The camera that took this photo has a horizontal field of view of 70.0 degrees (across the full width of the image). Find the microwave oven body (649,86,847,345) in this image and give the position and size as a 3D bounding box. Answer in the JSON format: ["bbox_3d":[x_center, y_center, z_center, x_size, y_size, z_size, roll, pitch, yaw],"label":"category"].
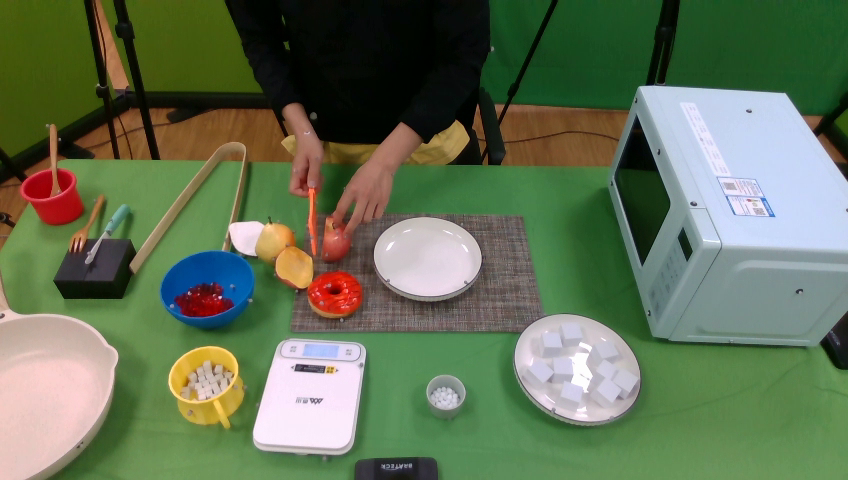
[{"bbox_3d":[0.567,-0.053,1.118,0.326,0.261,0.439,2,45,-1],"label":"microwave oven body"}]

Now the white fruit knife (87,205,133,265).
[{"bbox_3d":[-0.584,-0.013,1.129,0.016,0.027,0.206,-1,32,-4],"label":"white fruit knife"}]

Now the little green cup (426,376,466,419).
[{"bbox_3d":[0.033,0.248,0.950,0.061,0.039,0.061,2,46,-2],"label":"little green cup"}]

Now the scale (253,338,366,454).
[{"bbox_3d":[-0.175,0.236,0.951,0.149,0.032,0.199,4,45,0],"label":"scale"}]

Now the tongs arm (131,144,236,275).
[{"bbox_3d":[-0.483,-0.076,1.236,0.028,0.028,0.385,5,45,13],"label":"tongs arm"}]

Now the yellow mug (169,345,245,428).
[{"bbox_3d":[-0.322,0.230,0.922,0.100,0.064,0.130,-24,53,-25],"label":"yellow mug"}]

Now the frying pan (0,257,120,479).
[{"bbox_3d":[-0.647,0.164,0.937,0.307,0.103,0.485,-19,58,-22],"label":"frying pan"}]

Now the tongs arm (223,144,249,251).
[{"bbox_3d":[-0.397,-0.073,1.232,0.051,0.027,0.382,-3,45,1],"label":"tongs arm"}]

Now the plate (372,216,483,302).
[{"bbox_3d":[0.006,0.038,1.145,0.209,0.038,0.208,2,46,-2],"label":"plate"}]

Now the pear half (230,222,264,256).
[{"bbox_3d":[-0.333,0.000,1.167,0.088,0.031,0.070,31,52,4],"label":"pear half"}]

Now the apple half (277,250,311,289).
[{"bbox_3d":[-0.245,0.058,1.115,0.033,0.082,0.081,-34,42,23],"label":"apple half"}]

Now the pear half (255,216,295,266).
[{"bbox_3d":[-0.269,0.001,1.117,0.056,0.110,0.076,26,55,18],"label":"pear half"}]

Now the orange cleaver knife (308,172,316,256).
[{"bbox_3d":[-0.210,-0.053,1.142,0.012,0.077,0.210,-6,38,-5],"label":"orange cleaver knife"}]

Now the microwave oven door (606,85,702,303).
[{"bbox_3d":[0.422,-0.094,1.140,0.039,0.245,0.353,2,46,-1],"label":"microwave oven door"}]

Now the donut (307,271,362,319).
[{"bbox_3d":[-0.158,0.097,1.073,0.099,0.048,0.098,4,45,-4],"label":"donut"}]

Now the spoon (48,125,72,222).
[{"bbox_3d":[-0.718,-0.131,1.189,0.041,0.021,0.193,-3,90,-6],"label":"spoon"}]

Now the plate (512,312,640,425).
[{"bbox_3d":[0.246,0.213,0.999,0.208,0.039,0.206,2,46,-2],"label":"plate"}]

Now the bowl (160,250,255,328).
[{"bbox_3d":[-0.362,0.098,1.040,0.151,0.077,0.150,2,45,-2],"label":"bowl"}]

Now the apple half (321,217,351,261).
[{"bbox_3d":[-0.165,0.001,1.145,0.053,0.075,0.080,8,38,-11],"label":"apple half"}]

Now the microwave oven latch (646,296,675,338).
[{"bbox_3d":[0.412,0.134,1.061,0.030,0.029,0.078,4,45,1],"label":"microwave oven latch"}]

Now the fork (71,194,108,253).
[{"bbox_3d":[-0.634,-0.036,1.158,0.028,0.019,0.206,-7,31,-8],"label":"fork"}]
